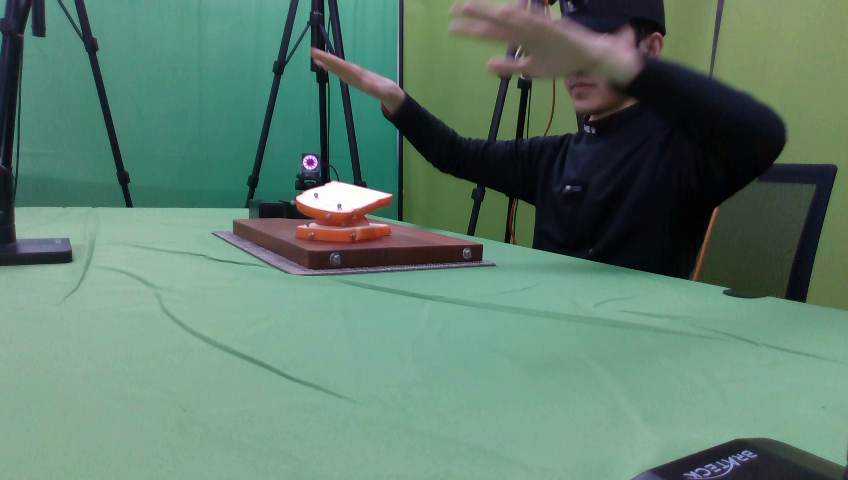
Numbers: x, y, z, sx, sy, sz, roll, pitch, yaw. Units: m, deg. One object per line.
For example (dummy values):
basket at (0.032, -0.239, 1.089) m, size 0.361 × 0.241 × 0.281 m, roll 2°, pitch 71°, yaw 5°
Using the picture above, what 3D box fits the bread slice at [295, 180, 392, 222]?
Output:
bread slice at (-0.121, -0.057, 0.884) m, size 0.106 × 0.018 × 0.134 m, roll 13°, pitch 23°, yaw 19°

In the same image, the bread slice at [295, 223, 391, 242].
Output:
bread slice at (-0.122, -0.014, 0.889) m, size 0.104 × 0.019 × 0.132 m, roll 3°, pitch 7°, yaw 23°

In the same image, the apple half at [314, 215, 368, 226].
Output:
apple half at (-0.120, -0.037, 0.901) m, size 0.081 × 0.033 × 0.081 m, roll 4°, pitch 5°, yaw 0°
